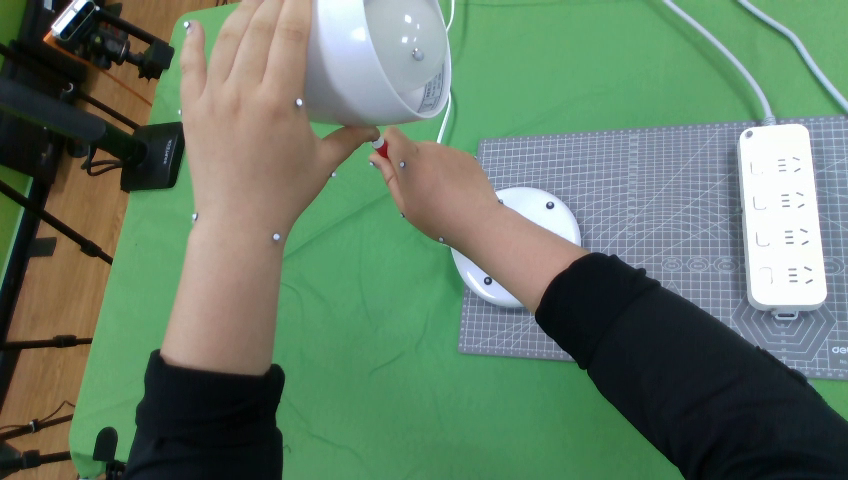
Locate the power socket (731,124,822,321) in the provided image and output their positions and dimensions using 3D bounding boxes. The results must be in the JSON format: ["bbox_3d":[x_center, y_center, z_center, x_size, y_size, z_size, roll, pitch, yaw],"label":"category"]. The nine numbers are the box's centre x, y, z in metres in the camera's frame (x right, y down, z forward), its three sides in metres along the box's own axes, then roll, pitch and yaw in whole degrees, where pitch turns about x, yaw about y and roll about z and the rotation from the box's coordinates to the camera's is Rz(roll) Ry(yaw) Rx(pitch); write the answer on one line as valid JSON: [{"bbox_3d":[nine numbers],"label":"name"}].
[{"bbox_3d":[0.384,-0.025,0.665,0.072,0.033,0.225,-2,71,20],"label":"power socket"}]

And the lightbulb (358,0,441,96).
[{"bbox_3d":[-0.040,-0.122,0.399,0.107,0.060,0.059,-2,71,30],"label":"lightbulb"}]

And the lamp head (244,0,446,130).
[{"bbox_3d":[-0.058,-0.122,0.417,0.122,0.113,0.111,-11,67,33],"label":"lamp head"}]

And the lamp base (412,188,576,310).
[{"bbox_3d":[0.071,-0.014,0.700,0.178,0.182,0.159,-7,69,22],"label":"lamp base"}]
